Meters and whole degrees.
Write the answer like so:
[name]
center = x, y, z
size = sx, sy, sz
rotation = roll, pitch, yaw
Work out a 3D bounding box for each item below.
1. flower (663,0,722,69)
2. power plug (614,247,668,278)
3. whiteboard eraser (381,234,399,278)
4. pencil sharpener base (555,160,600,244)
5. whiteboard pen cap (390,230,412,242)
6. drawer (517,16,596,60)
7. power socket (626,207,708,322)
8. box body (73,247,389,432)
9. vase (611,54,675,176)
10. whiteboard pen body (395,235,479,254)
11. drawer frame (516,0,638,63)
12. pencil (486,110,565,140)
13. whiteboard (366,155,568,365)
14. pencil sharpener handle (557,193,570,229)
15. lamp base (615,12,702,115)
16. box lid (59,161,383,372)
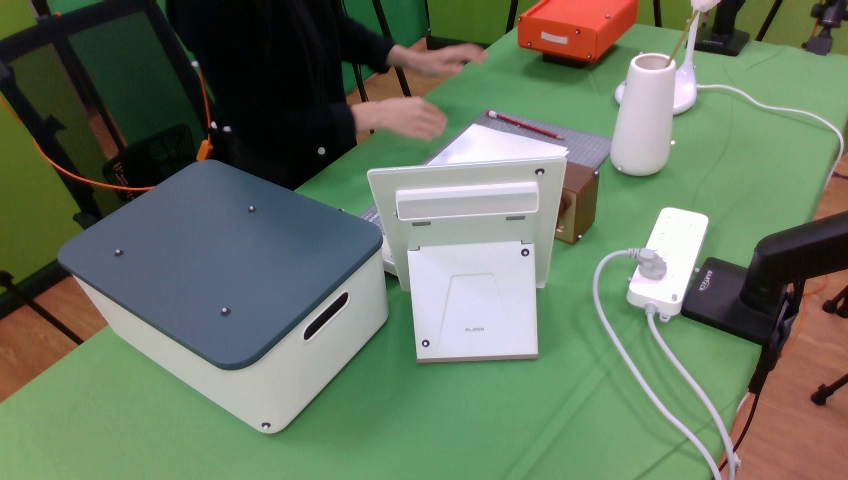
[flower]
center = 0.379, -0.261, 0.965
size = 0.044, 0.362, 0.038
rotation = 20, 53, 5
[power plug]
center = 0.306, 0.031, 0.851
size = 0.072, 0.053, 0.035
rotation = 24, 49, 33
[whiteboard eraser]
center = -0.066, 0.022, 0.945
size = 0.112, 0.042, 0.056
rotation = 20, 49, 28
[pencil sharpener base]
center = 0.228, -0.057, 0.945
size = 0.061, 0.107, 0.077
rotation = 24, 50, 31
[whiteboard pen cap]
center = -0.036, -0.006, 0.980
size = 0.033, 0.018, 0.018
rotation = 9, 43, 17
[drawer]
center = 0.353, -0.506, 1.405
size = 0.193, 0.073, 0.212
rotation = 23, 49, 32
[power socket]
center = 0.359, 0.026, 0.886
size = 0.072, 0.033, 0.227
rotation = 16, 46, 26
[box body]
center = -0.255, 0.065, 0.827
size = 0.361, 0.161, 0.255
rotation = 21, 48, 29
[vase]
center = 0.377, -0.209, 1.031
size = 0.098, 0.201, 0.097
rotation = -3, 40, 3
[whiteboard pen body]
center = 0.019, 0.005, 0.963
size = 0.140, 0.017, 0.017
rotation = 9, 43, 17
[drawer frame]
center = 0.355, -0.508, 1.411
size = 0.200, 0.083, 0.214
rotation = 23, 51, 32
[pencil]
center = 0.204, -0.233, 1.226
size = 0.192, 0.012, 0.012
rotation = 29, 52, 33
[whiteboard]
center = 0.059, 0.049, 0.738
size = 0.217, 0.307, 0.143
rotation = -3, 60, 5
[pencil sharpener handle]
center = 0.195, -0.038, 0.908
size = 0.035, 0.068, 0.031
rotation = 24, 50, 30
[lamp base]
center = 0.484, -0.363, 1.211
size = 0.180, 0.181, 0.159
rotation = -15, 41, -14
[box lid]
center = -0.262, 0.010, 0.777
size = 0.369, 0.015, 0.264
rotation = 21, 48, 29
